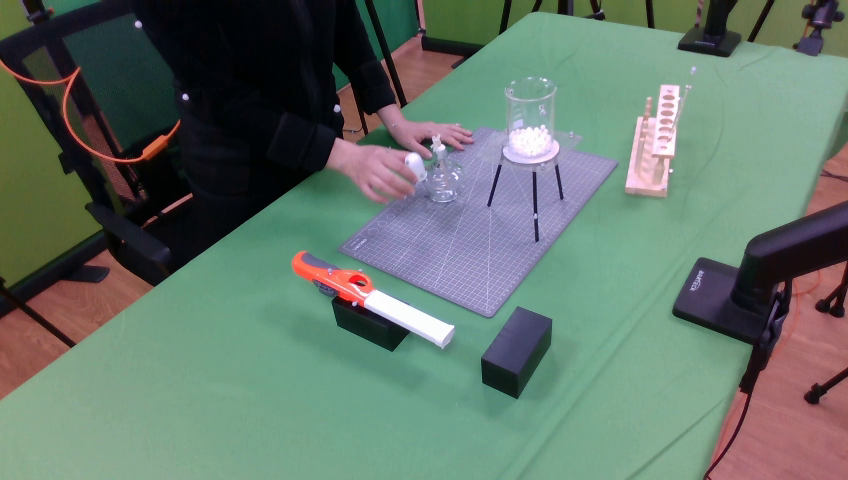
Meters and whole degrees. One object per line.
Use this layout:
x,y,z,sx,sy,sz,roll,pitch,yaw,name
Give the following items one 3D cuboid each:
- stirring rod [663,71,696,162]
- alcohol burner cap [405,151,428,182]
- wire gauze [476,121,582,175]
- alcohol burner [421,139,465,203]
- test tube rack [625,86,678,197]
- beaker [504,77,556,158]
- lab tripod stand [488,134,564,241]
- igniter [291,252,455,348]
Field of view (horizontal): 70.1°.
0.410,-0.195,0.981,0.014,0.177,0.006,11,50,14,stirring rod
-0.014,-0.119,0.962,0.034,0.048,0.033,-8,46,9,alcohol burner cap
0.162,-0.142,0.929,0.120,0.011,0.125,19,49,32,wire gauze
0.030,-0.124,1.044,0.078,0.119,0.077,-5,42,5,alcohol burner
0.412,-0.184,1.088,0.066,0.085,0.242,9,43,18,test tube rack
0.160,-0.181,0.900,0.084,0.101,0.073,-33,46,-27,beaker
0.168,-0.092,0.972,0.148,0.132,0.147,-5,41,5,lab tripod stand
-0.080,0.076,0.822,0.274,0.025,0.057,23,46,27,igniter
